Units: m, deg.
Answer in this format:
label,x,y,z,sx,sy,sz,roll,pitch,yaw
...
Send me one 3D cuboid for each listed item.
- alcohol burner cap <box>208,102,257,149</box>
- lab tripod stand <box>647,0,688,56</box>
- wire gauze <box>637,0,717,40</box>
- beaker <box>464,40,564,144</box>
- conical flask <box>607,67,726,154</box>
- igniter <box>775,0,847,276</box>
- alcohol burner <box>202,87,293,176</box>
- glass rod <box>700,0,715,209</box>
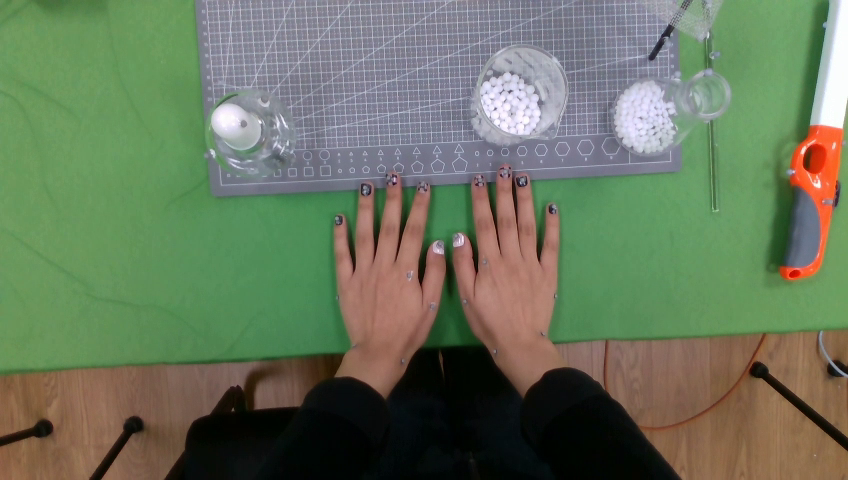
label,x,y,z,sx,sy,sz,roll,pitch,yaw
alcohol burner cap,-0.153,-0.093,0.479,0.034,0.048,0.034,0,87,-5
lab tripod stand,0.179,-0.234,0.508,0.148,0.131,0.148,0,95,-1
wire gauze,0.178,-0.231,0.441,0.125,0.011,0.121,29,95,-3
beaker,0.075,-0.121,0.529,0.074,0.100,0.084,-39,95,1
conical flask,0.212,-0.116,0.524,0.075,0.121,0.075,0,94,-2
igniter,0.379,-0.101,0.582,0.057,0.025,0.276,7,94,-13
alcohol burner,-0.154,-0.094,0.515,0.078,0.119,0.078,0,95,-1
glass rod,0.274,-0.130,0.585,0.008,0.008,0.200,-4,94,-2
